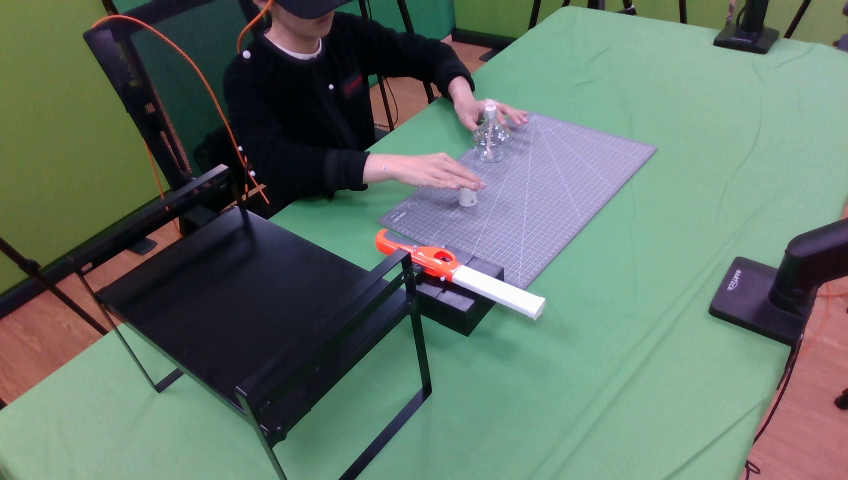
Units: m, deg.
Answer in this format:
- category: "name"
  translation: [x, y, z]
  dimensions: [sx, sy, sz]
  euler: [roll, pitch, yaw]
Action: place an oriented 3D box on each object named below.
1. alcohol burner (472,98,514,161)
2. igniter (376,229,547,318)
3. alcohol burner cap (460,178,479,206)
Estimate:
- category: "alcohol burner"
  translation: [0.127, -0.208, 1.123]
  dimensions: [0.078, 0.119, 0.077]
  euler: [-5, 39, 5]
- category: "igniter"
  translation: [0.040, 0.041, 0.845]
  dimensions: [0.274, 0.025, 0.057]
  euler: [22, 46, 27]
- category: "alcohol burner cap"
  translation: [0.078, -0.085, 1.041]
  dimensions: [0.034, 0.048, 0.033]
  euler: [-2, 44, 2]
